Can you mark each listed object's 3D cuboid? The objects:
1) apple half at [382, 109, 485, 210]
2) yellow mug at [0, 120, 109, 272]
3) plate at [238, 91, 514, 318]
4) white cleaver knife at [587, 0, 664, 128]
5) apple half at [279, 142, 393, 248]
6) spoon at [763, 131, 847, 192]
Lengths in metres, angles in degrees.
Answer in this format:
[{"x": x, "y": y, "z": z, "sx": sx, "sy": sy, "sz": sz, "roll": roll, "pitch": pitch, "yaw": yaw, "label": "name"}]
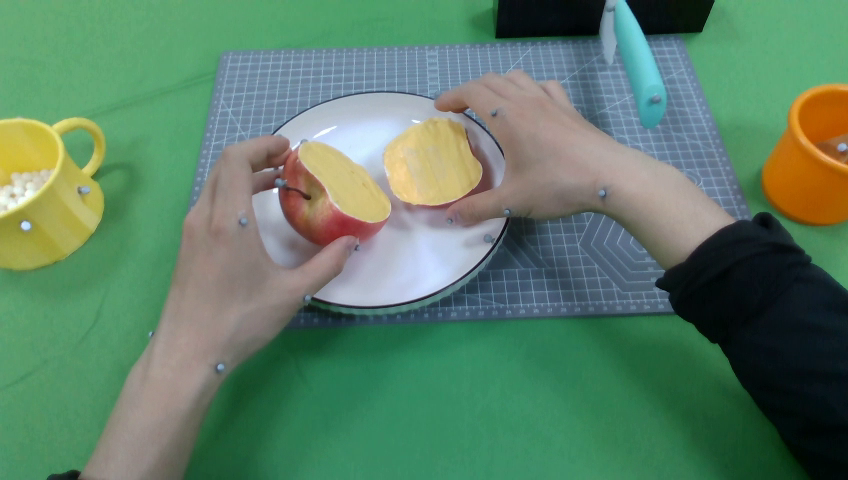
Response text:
[{"x": 0.007, "y": -0.059, "z": 0.481, "sx": 0.081, "sy": 0.033, "sz": 0.081, "roll": -1, "pitch": 82, "yaw": 10, "label": "apple half"}, {"x": -0.303, "y": -0.046, "z": 0.474, "sx": 0.099, "sy": 0.064, "sz": 0.130, "roll": 28, "pitch": 61, "yaw": 18, "label": "yellow mug"}, {"x": -0.036, "y": -0.030, "z": 0.472, "sx": 0.209, "sy": 0.038, "sz": 0.207, "roll": 0, "pitch": 58, "yaw": 1, "label": "plate"}, {"x": 0.175, "y": -0.204, "z": 0.561, "sx": 0.021, "sy": 0.066, "sz": 0.283, "roll": -4, "pitch": 53, "yaw": 4, "label": "white cleaver knife"}, {"x": -0.068, "y": -0.025, "z": 0.439, "sx": 0.080, "sy": 0.053, "sz": 0.075, "roll": 47, "pitch": 24, "yaw": 11, "label": "apple half"}, {"x": 0.347, "y": -0.092, "z": 0.440, "sx": 0.022, "sy": 0.194, "sz": 0.041, "roll": 24, "pitch": 45, "yaw": -37, "label": "spoon"}]
